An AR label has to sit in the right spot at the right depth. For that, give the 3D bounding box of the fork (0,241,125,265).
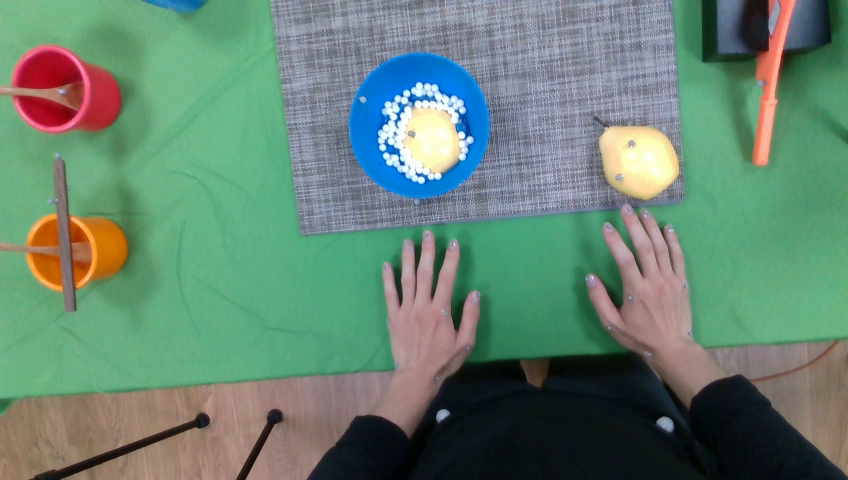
[{"bbox_3d":[-0.462,0.008,0.705,0.209,0.018,0.028,9,108,-38],"label":"fork"}]

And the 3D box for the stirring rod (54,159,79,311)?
[{"bbox_3d":[-0.411,-0.005,0.696,0.014,0.006,0.176,-1,96,4],"label":"stirring rod"}]

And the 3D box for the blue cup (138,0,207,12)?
[{"bbox_3d":[-0.290,-0.299,0.677,0.092,0.100,0.093,1,96,9],"label":"blue cup"}]

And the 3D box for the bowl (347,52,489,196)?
[{"bbox_3d":[-0.002,-0.124,0.671,0.151,0.077,0.151,1,96,7],"label":"bowl"}]

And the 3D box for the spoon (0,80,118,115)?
[{"bbox_3d":[-0.458,-0.168,0.690,0.195,0.021,0.042,-4,99,-37],"label":"spoon"}]

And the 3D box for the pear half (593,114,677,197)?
[{"bbox_3d":[0.225,-0.100,0.663,0.109,0.056,0.076,44,93,4],"label":"pear half"}]

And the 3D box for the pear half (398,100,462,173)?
[{"bbox_3d":[0.002,-0.118,0.665,0.070,0.031,0.088,-32,87,7],"label":"pear half"}]

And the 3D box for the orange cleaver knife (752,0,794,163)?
[{"bbox_3d":[0.355,-0.184,0.626,0.012,0.076,0.213,-2,124,12],"label":"orange cleaver knife"}]
